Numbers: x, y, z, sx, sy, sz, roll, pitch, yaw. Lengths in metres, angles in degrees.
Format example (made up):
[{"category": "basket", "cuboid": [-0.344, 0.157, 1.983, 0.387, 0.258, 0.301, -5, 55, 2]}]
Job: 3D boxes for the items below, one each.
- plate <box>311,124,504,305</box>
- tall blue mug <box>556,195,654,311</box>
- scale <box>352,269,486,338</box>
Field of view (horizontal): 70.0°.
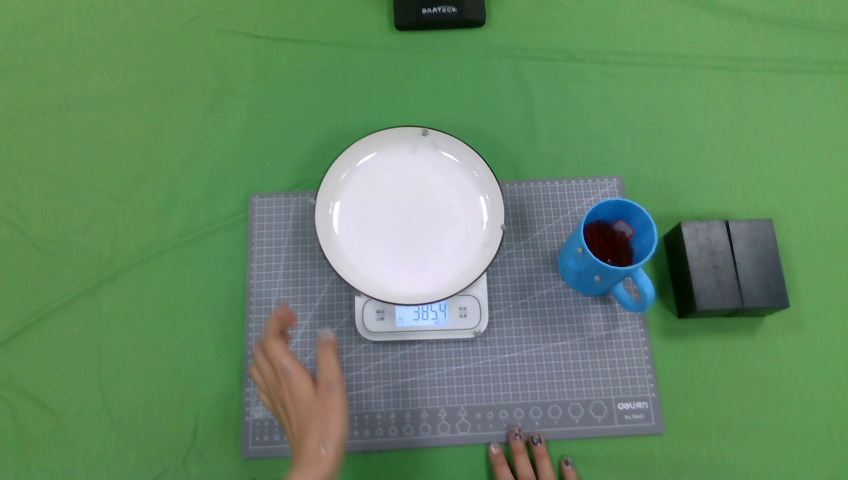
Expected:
[{"category": "plate", "cuboid": [-0.017, -0.027, 0.667, 0.209, 0.038, 0.208, 1, 73, -1]}, {"category": "tall blue mug", "cuboid": [0.203, 0.016, 0.650, 0.107, 0.108, 0.077, 32, 74, 9]}, {"category": "scale", "cuboid": [-0.007, 0.009, 0.691, 0.149, 0.032, 0.199, -1, 73, -1]}]
